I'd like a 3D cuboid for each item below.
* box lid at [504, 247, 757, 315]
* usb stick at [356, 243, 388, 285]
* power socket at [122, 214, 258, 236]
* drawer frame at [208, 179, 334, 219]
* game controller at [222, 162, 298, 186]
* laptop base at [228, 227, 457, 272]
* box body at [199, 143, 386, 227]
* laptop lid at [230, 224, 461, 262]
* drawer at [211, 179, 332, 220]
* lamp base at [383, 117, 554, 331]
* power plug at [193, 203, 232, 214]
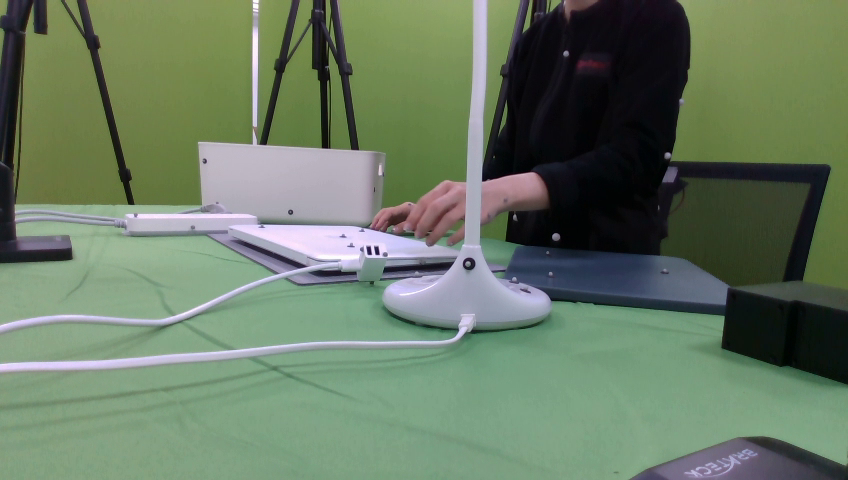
[{"bbox_3d":[0.244,0.044,0.793,0.263,0.015,0.372,4,7,11],"label":"box lid"},{"bbox_3d":[-0.058,0.029,0.658,0.027,0.059,0.021,-4,53,-18],"label":"usb stick"},{"bbox_3d":[-0.398,-0.028,1.049,0.228,0.032,0.072,-3,8,-34],"label":"power socket"},{"bbox_3d":[-0.326,-0.093,1.328,0.213,0.082,0.202,-1,5,6],"label":"drawer frame"},{"bbox_3d":[-0.357,-0.143,1.322,0.156,0.051,0.097,1,2,-16],"label":"game controller"},{"bbox_3d":[-0.122,0.011,0.889,0.237,0.023,0.352,2,6,-35],"label":"laptop base"},{"bbox_3d":[-0.276,-0.124,1.335,0.364,0.160,0.254,3,7,1],"label":"box body"},{"bbox_3d":[-0.119,0.000,0.889,0.243,0.013,0.355,1,7,-33],"label":"laptop lid"},{"bbox_3d":[-0.328,-0.095,1.331,0.212,0.073,0.194,5,8,6],"label":"drawer"},{"bbox_3d":[0.045,-0.019,0.547,0.161,0.180,0.179,2,10,-4],"label":"lamp base"},{"bbox_3d":[-0.394,-0.042,1.139,0.072,0.052,0.035,-13,2,31],"label":"power plug"}]
